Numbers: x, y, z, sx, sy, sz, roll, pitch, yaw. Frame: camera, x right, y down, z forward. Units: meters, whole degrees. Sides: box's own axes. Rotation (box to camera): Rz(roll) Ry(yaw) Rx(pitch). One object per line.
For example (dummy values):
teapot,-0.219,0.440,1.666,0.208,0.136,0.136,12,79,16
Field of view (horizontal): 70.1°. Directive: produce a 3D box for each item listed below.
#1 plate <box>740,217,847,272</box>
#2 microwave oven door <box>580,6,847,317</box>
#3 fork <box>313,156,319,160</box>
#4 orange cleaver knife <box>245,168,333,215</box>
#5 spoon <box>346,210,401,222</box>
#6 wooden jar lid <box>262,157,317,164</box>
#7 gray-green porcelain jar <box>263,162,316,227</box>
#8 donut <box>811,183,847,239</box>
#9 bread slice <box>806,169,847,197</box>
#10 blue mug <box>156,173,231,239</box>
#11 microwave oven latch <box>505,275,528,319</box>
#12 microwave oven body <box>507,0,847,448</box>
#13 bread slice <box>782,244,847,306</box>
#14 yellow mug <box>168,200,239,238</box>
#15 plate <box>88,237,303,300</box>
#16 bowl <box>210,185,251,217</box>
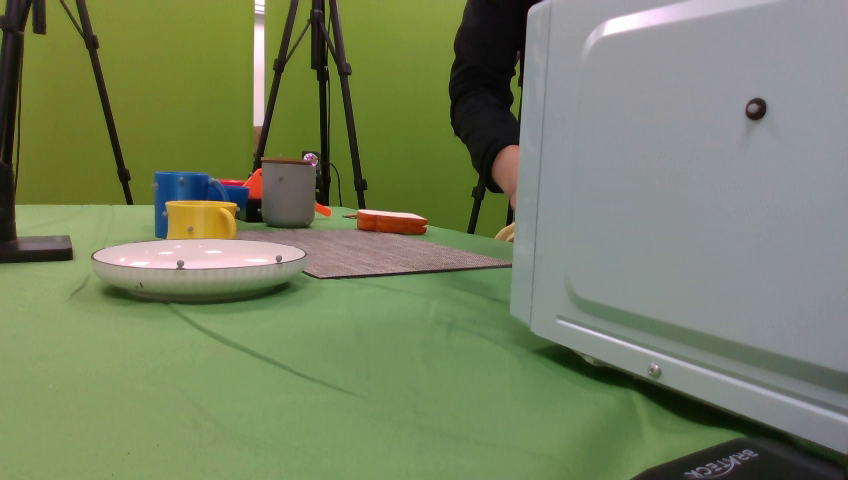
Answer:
plate,0.359,0.002,0.465,0.209,0.038,0.209,0,4,0
microwave oven door,0.295,-0.067,0.569,0.358,0.243,0.039,-3,9,-31
fork,-0.330,-0.144,1.505,0.207,0.018,0.028,-42,-19,22
orange cleaver knife,-0.300,-0.089,1.351,0.212,0.077,0.012,28,-9,-34
spoon,-0.120,-0.059,1.399,0.042,0.021,0.192,-27,24,-38
wooden jar lid,-0.269,-0.154,1.208,0.108,0.020,0.108,3,4,0
gray-green porcelain jar,-0.270,-0.092,1.217,0.106,0.126,0.106,2,7,0
donut,0.353,-0.026,0.463,0.099,0.048,0.099,-10,3,1
bread slice,0.365,-0.051,0.453,0.135,0.018,0.106,-10,1,-22
blue mug,-0.380,-0.057,1.003,0.117,0.106,0.082,1,8,-12
microwave oven latch,0.100,0.042,0.470,0.079,0.029,0.030,-1,7,-27
microwave oven body,0.331,-0.042,0.425,0.444,0.260,0.324,-2,8,-31
bread slice,0.370,0.019,0.472,0.132,0.019,0.104,-21,10,-13
yellow mug,-0.319,-0.023,0.903,0.130,0.064,0.100,8,10,36
plate,-0.233,0.029,0.636,0.208,0.039,0.207,2,7,0
bowl,-0.408,-0.064,1.154,0.151,0.077,0.151,2,8,0
